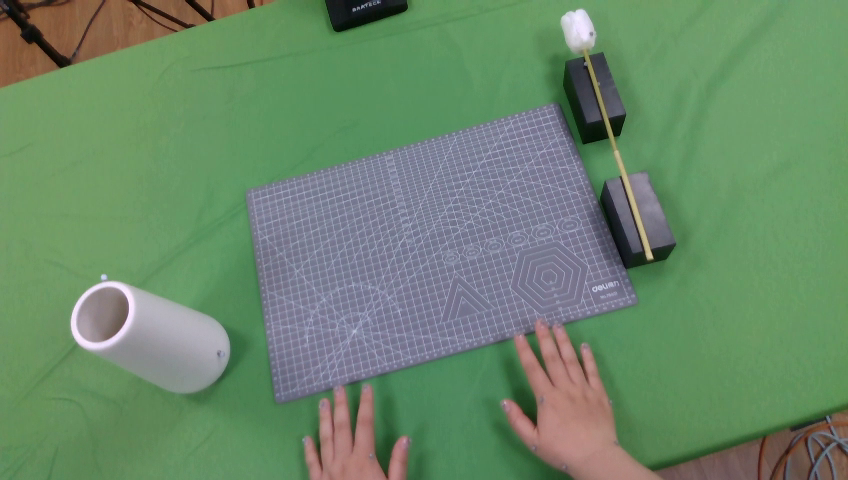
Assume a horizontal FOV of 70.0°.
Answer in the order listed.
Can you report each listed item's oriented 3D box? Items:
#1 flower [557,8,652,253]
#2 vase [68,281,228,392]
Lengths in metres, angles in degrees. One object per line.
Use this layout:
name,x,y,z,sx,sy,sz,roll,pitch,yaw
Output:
flower,0.224,-0.146,0.748,0.044,0.038,0.358,3,62,-23
vase,-0.297,0.108,0.673,0.098,0.201,0.097,-2,67,6
